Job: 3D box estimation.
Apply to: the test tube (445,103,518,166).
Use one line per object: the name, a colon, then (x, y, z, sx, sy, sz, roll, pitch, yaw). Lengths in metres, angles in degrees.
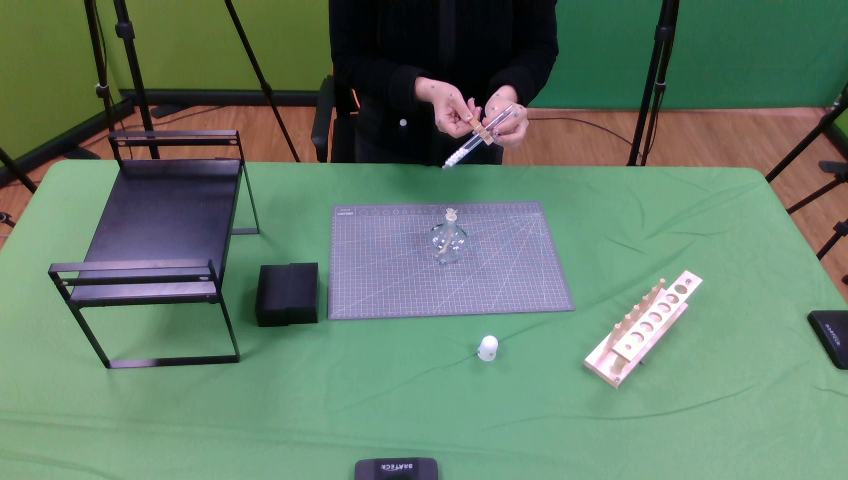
test tube: (0.093, -0.173, 1.001, 0.150, 0.017, 0.017, -40, 54, 4)

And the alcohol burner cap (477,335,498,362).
alcohol burner cap: (0.108, 0.179, 1.017, 0.034, 0.048, 0.033, 3, 51, -4)

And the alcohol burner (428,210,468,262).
alcohol burner: (0.048, -0.014, 1.146, 0.078, 0.119, 0.077, 3, 48, -3)

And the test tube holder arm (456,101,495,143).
test tube holder arm: (0.087, -0.209, 1.059, 0.015, 0.013, 0.177, -28, 33, 2)

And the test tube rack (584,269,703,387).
test tube rack: (0.381, 0.139, 1.046, 0.066, 0.085, 0.242, 37, 54, 28)

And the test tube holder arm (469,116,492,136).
test tube holder arm: (0.094, -0.193, 1.018, 0.015, 0.010, 0.087, -28, 27, 2)
